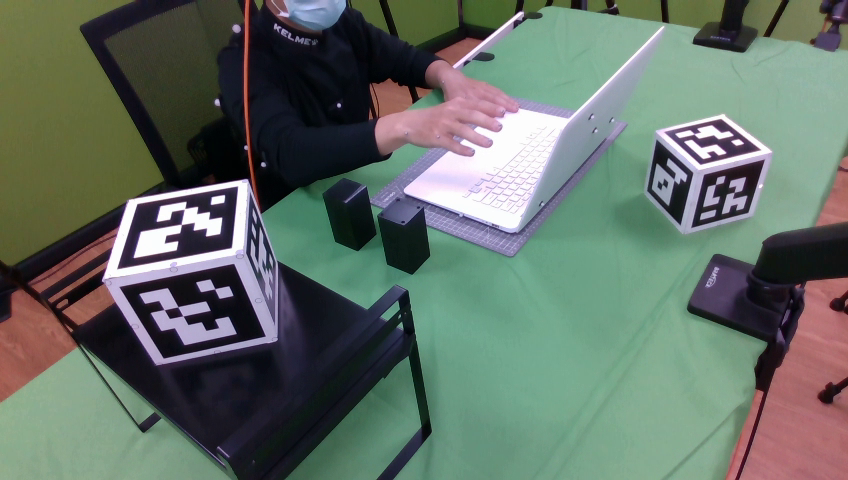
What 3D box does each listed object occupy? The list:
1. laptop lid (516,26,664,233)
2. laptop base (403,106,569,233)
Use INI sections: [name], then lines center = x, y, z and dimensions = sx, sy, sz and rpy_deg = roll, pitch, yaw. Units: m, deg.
[laptop lid]
center = 0.268, -0.178, 0.966
dimensions = 0.013, 0.242, 0.357
rpy_deg = 35, 52, 16
[laptop base]
center = 0.156, -0.144, 1.116
dimensions = 0.233, 0.023, 0.355
rpy_deg = 20, 47, 32
